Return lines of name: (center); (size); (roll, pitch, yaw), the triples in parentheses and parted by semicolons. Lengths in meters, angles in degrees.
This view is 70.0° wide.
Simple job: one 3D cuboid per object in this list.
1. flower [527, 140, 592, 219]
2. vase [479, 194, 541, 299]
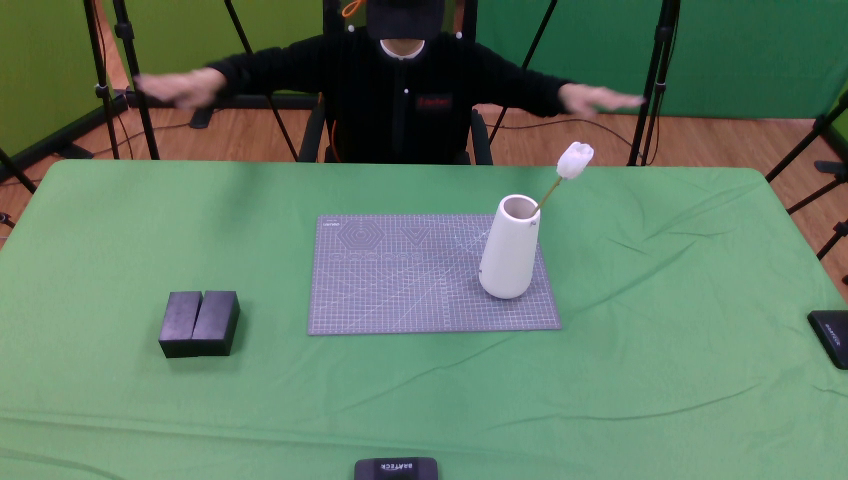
flower: (0.173, -0.036, 1.002); (0.044, 0.363, 0.038); (-21, 66, -29)
vase: (0.152, 0.015, 1.066); (0.098, 0.201, 0.097); (1, 47, -1)
